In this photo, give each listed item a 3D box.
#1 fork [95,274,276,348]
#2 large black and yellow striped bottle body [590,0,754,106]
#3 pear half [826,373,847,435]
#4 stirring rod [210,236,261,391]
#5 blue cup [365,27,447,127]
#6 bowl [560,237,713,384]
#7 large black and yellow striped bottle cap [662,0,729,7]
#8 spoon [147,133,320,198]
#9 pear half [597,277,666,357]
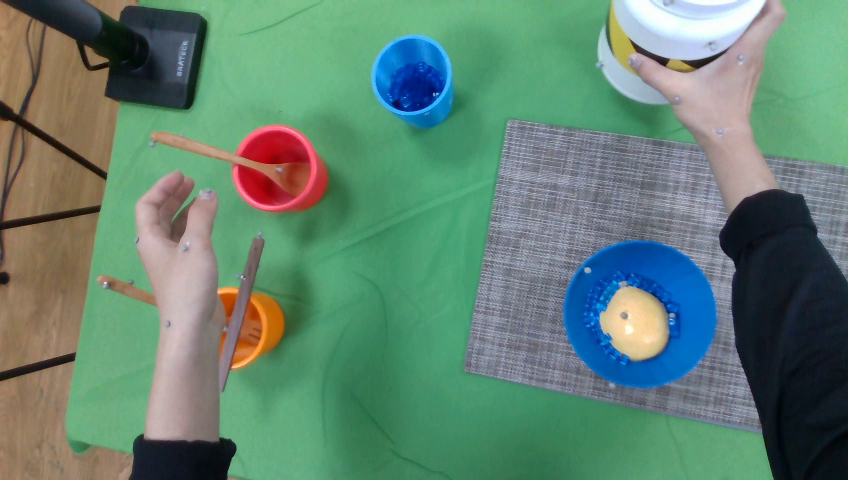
[{"bbox_3d":[-0.260,0.080,0.677,0.209,0.018,0.028,28,102,-36],"label":"fork"},{"bbox_3d":[0.236,-0.226,0.578,0.130,0.185,0.130,-2,76,7],"label":"large black and yellow striped bottle body"},{"bbox_3d":[0.445,0.171,0.605,0.056,0.110,0.076,-10,82,7],"label":"pear half"},{"bbox_3d":[-0.208,0.081,0.669,0.014,0.006,0.176,15,90,5],"label":"stirring rod"},{"bbox_3d":[-0.012,-0.170,0.682,0.092,0.100,0.092,-1,86,9],"label":"blue cup"},{"bbox_3d":[0.219,0.073,0.652,0.151,0.077,0.151,0,88,7],"label":"bowl"},{"bbox_3d":[0.226,-0.247,0.497,0.115,0.019,0.114,-2,77,8],"label":"large black and yellow striped bottle cap"},{"bbox_3d":[-0.208,-0.088,0.682,0.195,0.021,0.041,16,92,-36],"label":"spoon"},{"bbox_3d":[0.222,0.080,0.645,0.070,0.031,0.087,-16,80,3],"label":"pear half"}]
